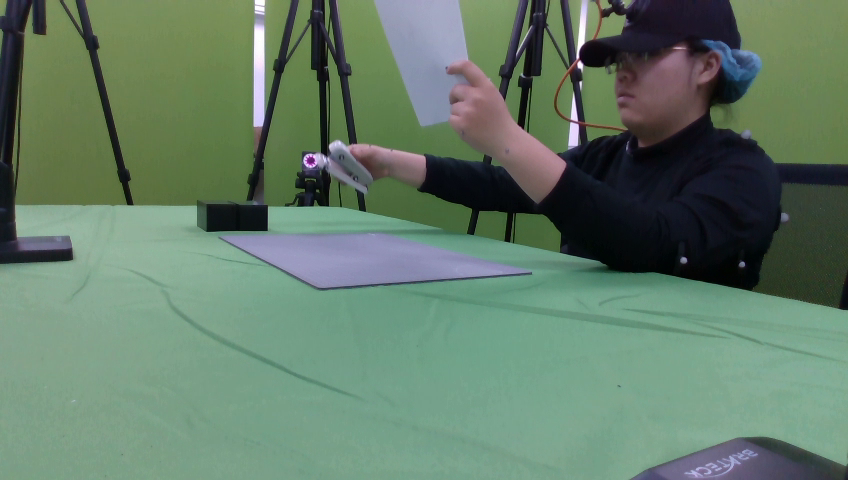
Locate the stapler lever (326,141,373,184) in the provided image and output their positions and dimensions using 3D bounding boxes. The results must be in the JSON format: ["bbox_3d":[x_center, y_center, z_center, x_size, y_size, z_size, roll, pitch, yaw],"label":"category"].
[{"bbox_3d":[-0.142,-0.153,1.192,0.119,0.040,0.026,31,22,-40],"label":"stapler lever"}]

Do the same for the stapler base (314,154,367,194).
[{"bbox_3d":[-0.159,-0.137,1.198,0.131,0.024,0.041,32,22,-40],"label":"stapler base"}]
